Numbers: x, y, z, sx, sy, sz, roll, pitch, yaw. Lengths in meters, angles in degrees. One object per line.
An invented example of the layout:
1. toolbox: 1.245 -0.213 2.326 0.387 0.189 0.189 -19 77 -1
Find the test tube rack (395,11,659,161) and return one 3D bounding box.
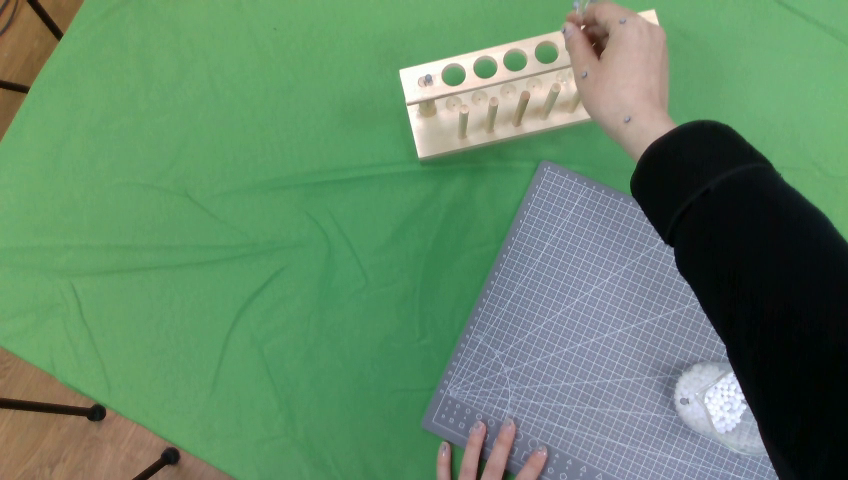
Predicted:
1. test tube rack: 0.100 -0.147 0.596 0.242 0.085 0.066 -13 82 0

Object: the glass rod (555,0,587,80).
1. glass rod: 0.129 -0.177 0.532 0.008 0.200 0.008 0 85 7

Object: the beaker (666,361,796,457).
1. beaker: 0.265 0.146 0.544 0.084 0.100 0.074 13 83 5
